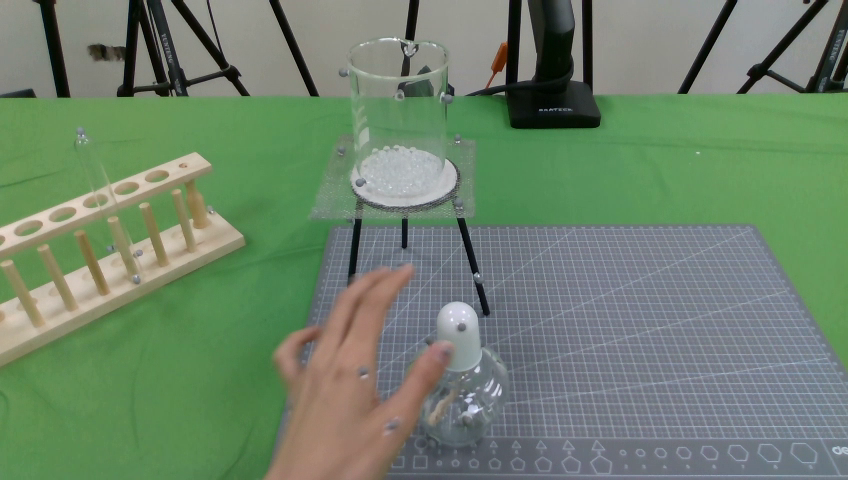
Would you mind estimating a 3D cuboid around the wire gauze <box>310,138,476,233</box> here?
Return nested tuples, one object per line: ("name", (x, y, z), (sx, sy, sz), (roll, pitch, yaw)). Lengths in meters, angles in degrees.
("wire gauze", (-0.019, -0.047, 0.483), (0.121, 0.011, 0.124), (2, 41, 3))

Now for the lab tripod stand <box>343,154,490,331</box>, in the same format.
("lab tripod stand", (-0.009, 0.004, 0.526), (0.148, 0.132, 0.147), (0, 38, 0))

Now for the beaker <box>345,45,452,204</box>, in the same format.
("beaker", (-0.017, -0.086, 0.454), (0.074, 0.101, 0.083), (7, 39, 8))

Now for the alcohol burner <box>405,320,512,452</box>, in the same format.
("alcohol burner", (0.024, 0.095, 0.426), (0.078, 0.120, 0.077), (0, 40, 1))

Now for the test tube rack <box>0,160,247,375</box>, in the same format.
("test tube rack", (-0.296, 0.017, 0.562), (0.242, 0.086, 0.066), (-30, 47, -31))

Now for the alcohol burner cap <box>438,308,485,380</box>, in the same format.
("alcohol burner cap", (0.025, 0.066, 0.404), (0.034, 0.048, 0.033), (-3, 38, 2))

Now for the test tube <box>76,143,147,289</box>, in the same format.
("test tube", (-0.272, -0.017, 0.532), (0.017, 0.151, 0.017), (0, 37, 1))
